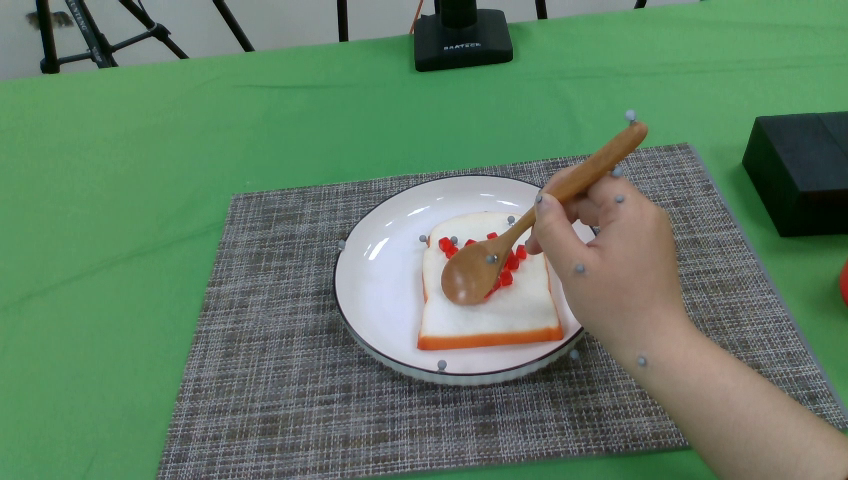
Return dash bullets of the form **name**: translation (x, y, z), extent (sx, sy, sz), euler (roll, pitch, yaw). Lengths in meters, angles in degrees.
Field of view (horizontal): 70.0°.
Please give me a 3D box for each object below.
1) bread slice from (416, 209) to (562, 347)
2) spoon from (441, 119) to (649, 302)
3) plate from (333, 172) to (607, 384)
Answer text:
- **bread slice**: translation (0.046, 0.025, 0.477), extent (0.105, 0.019, 0.130), euler (-4, 46, 3)
- **spoon**: translation (0.068, -0.012, 0.388), extent (0.022, 0.194, 0.041), euler (-4, 63, -35)
- **plate**: translation (0.034, 0.026, 0.475), extent (0.209, 0.038, 0.207), euler (-4, 46, 5)
